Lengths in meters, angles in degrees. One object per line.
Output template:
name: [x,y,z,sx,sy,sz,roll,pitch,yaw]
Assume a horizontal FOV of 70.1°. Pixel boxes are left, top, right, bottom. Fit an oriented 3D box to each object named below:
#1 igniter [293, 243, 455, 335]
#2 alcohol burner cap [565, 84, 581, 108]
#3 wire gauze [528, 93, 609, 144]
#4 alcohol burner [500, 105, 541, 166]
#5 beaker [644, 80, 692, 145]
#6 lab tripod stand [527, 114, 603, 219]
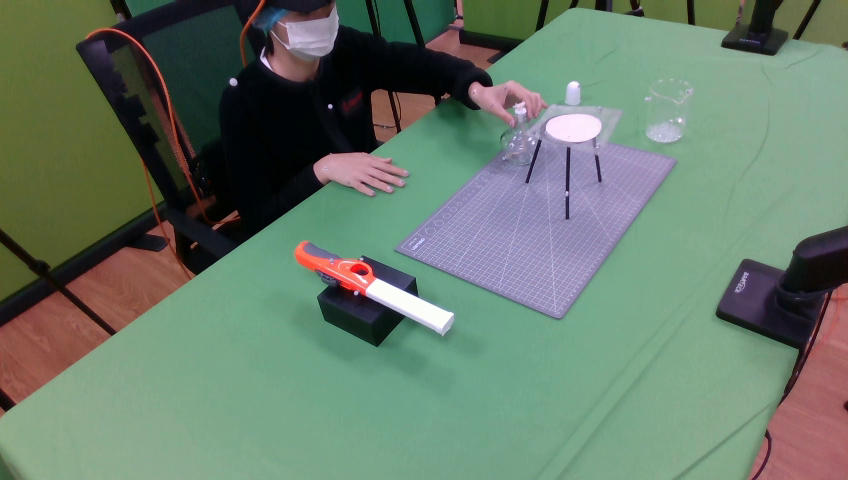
igniter: [-0.079,0.062,0.837,0.274,0.025,0.057,22,48,27]
alcohol burner cap: [0.315,-0.307,1.278,0.034,0.048,0.033,-4,43,5]
wire gauze: [0.225,-0.188,0.943,0.121,0.011,0.124,6,48,9]
alcohol burner: [0.178,-0.196,1.106,0.078,0.119,0.077,-5,43,5]
beaker: [0.451,-0.233,1.122,0.074,0.101,0.083,-8,40,1]
lab tripod stand: [0.234,-0.129,1.002,0.148,0.132,0.147,-6,40,6]
